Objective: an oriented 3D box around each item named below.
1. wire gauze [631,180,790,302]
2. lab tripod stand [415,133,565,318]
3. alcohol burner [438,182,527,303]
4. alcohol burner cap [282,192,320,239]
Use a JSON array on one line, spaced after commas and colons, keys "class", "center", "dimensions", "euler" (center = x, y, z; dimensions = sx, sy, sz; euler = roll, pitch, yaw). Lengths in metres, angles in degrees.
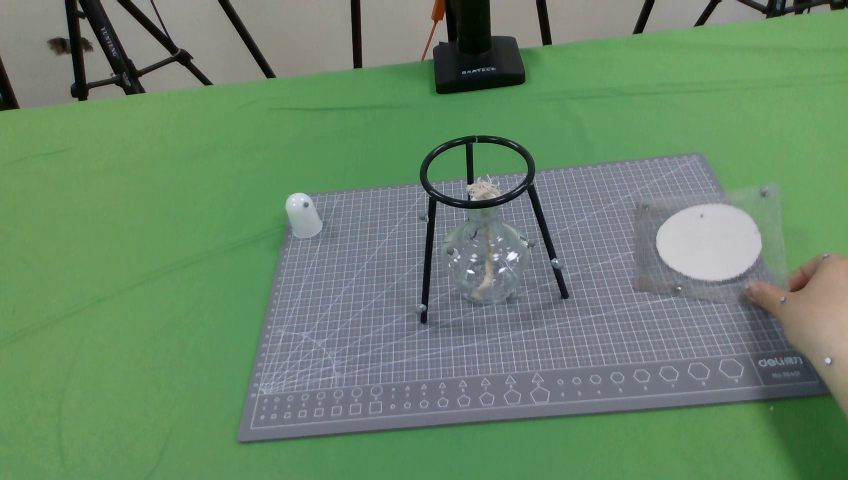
[{"class": "wire gauze", "center": [0.252, 0.000, 0.542], "dimensions": [0.124, 0.011, 0.120], "euler": [-2, 54, 27]}, {"class": "lab tripod stand", "center": [0.049, -0.012, 0.511], "dimensions": [0.148, 0.133, 0.147], "euler": [-3, 43, 4]}, {"class": "alcohol burner", "center": [0.049, -0.002, 0.515], "dimensions": [0.078, 0.120, 0.077], "euler": [-3, 44, 3]}, {"class": "alcohol burner cap", "center": [-0.128, -0.028, 0.623], "dimensions": [0.034, 0.048, 0.033], "euler": [-4, 45, 4]}]
